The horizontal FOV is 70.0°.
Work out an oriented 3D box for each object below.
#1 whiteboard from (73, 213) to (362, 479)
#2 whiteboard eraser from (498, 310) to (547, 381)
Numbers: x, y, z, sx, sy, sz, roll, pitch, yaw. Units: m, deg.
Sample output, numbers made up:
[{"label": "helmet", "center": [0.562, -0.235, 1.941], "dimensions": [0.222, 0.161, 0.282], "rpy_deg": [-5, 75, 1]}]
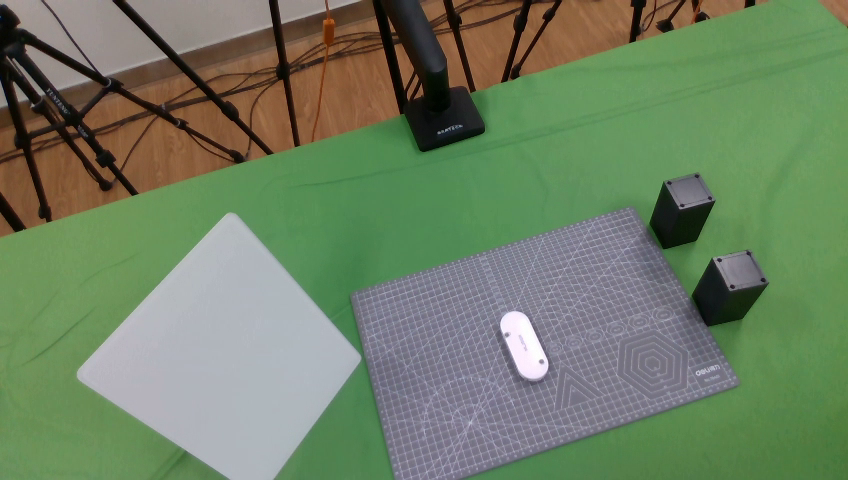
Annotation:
[{"label": "whiteboard", "center": [-0.254, 0.132, 0.741], "dimensions": [0.142, 0.309, 0.216], "rpy_deg": [17, 60, 40]}, {"label": "whiteboard eraser", "center": [0.132, 0.141, 0.815], "dimensions": [0.041, 0.019, 0.100], "rpy_deg": [-19, 58, -4]}]
